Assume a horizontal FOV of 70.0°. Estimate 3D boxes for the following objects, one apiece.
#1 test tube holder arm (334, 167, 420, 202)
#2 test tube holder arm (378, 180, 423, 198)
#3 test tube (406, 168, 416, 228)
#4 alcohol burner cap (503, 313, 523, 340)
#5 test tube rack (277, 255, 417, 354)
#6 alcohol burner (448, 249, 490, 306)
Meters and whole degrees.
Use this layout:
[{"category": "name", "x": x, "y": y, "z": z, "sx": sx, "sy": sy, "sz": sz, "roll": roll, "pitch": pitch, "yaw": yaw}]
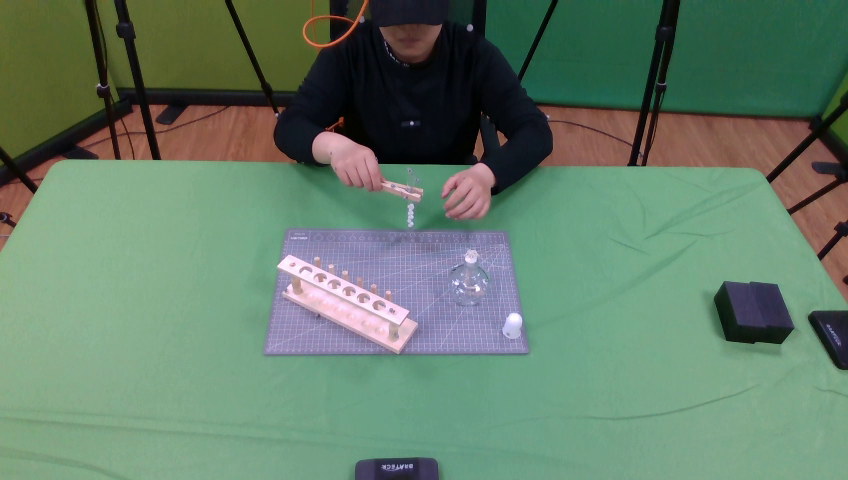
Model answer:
[{"category": "test tube holder arm", "x": -0.090, "y": -0.106, "z": 1.146, "sx": 0.178, "sy": 0.015, "sz": 0.013, "roll": 18, "pitch": 43, "yaw": 12}, {"category": "test tube holder arm", "x": -0.046, "y": -0.096, "z": 1.141, "sx": 0.088, "sy": 0.015, "sz": 0.010, "roll": 14, "pitch": 43, "yaw": 8}, {"category": "test tube", "x": -0.026, "y": -0.075, "z": 1.148, "sx": 0.017, "sy": 0.151, "sz": 0.017, "roll": 2, "pitch": 48, "yaw": -2}, {"category": "alcohol burner cap", "x": 0.155, "y": 0.147, "z": 1.051, "sx": 0.034, "sy": 0.048, "sz": 0.033, "roll": 1, "pitch": 45, "yaw": -1}, {"category": "test tube rack", "x": -0.131, "y": 0.099, "z": 1.045, "sx": 0.241, "sy": 0.085, "sz": 0.066, "roll": 23, "pitch": 49, "yaw": 17}, {"category": "alcohol burner", "x": 0.081, "y": 0.062, "z": 1.078, "sx": 0.078, "sy": 0.120, "sz": 0.077, "roll": 1, "pitch": 45, "yaw": -1}]
